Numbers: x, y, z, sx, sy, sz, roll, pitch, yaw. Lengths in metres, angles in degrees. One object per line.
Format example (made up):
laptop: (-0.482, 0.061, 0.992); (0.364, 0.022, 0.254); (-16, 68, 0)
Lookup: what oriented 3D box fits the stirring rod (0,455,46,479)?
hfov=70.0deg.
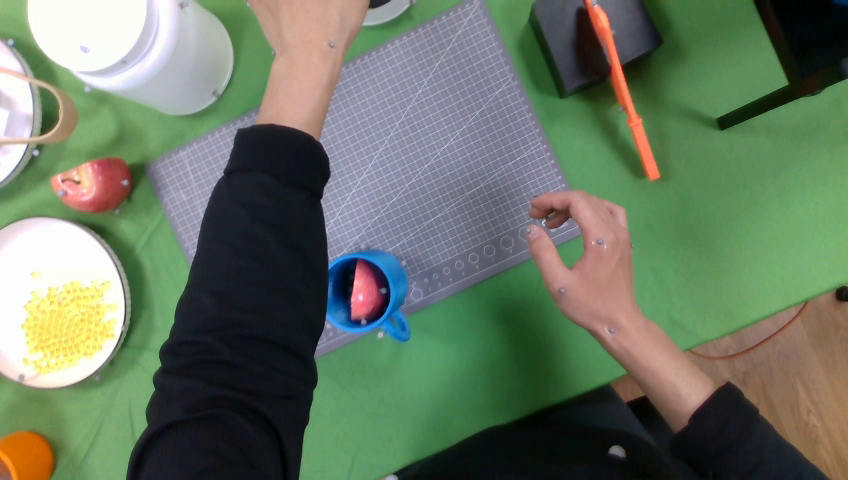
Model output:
stirring rod: (-0.540, 0.294, 0.702); (0.177, 0.006, 0.014); (-17, 79, -35)

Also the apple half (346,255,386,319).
apple half: (-0.058, 0.052, 0.665); (0.032, 0.081, 0.081); (7, 93, 12)

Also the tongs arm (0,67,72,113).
tongs arm: (-0.587, -0.216, 0.705); (0.387, 0.028, 0.028); (18, 87, 6)

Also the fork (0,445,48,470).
fork: (-0.556, 0.279, 0.700); (0.208, 0.018, 0.028); (-9, 91, -38)

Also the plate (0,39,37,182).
plate: (-0.565, -0.158, 0.736); (0.207, 0.039, 0.207); (0, 93, 4)

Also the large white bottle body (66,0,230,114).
large white bottle body: (-0.302, -0.213, 0.639); (0.130, 0.184, 0.130); (0, 92, 5)

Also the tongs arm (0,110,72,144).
tongs arm: (-0.599, -0.133, 0.708); (0.384, 0.026, 0.050); (4, 89, 6)

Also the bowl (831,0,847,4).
bowl: (0.335, -0.245, 0.461); (0.151, 0.077, 0.151); (0, 93, 5)

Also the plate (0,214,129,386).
plate: (-0.456, 0.071, 0.738); (0.209, 0.038, 0.209); (0, 93, 5)

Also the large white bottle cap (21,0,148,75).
large white bottle cap: (-0.311, -0.211, 0.555); (0.115, 0.018, 0.115); (0, 93, 5)

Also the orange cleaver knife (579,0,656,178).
orange cleaver knife: (0.207, -0.164, 0.653); (0.012, 0.076, 0.213); (-24, 117, 14)

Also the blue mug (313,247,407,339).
blue mug: (-0.059, 0.062, 0.670); (0.082, 0.106, 0.116); (-40, 89, 5)

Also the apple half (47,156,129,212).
apple half: (-0.385, -0.061, 0.709); (0.081, 0.074, 0.053); (-21, 94, 1)

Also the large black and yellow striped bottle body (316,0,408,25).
large black and yellow striped bottle body: (-0.079, -0.311, 0.617); (0.130, 0.184, 0.131); (0, 92, 5)
